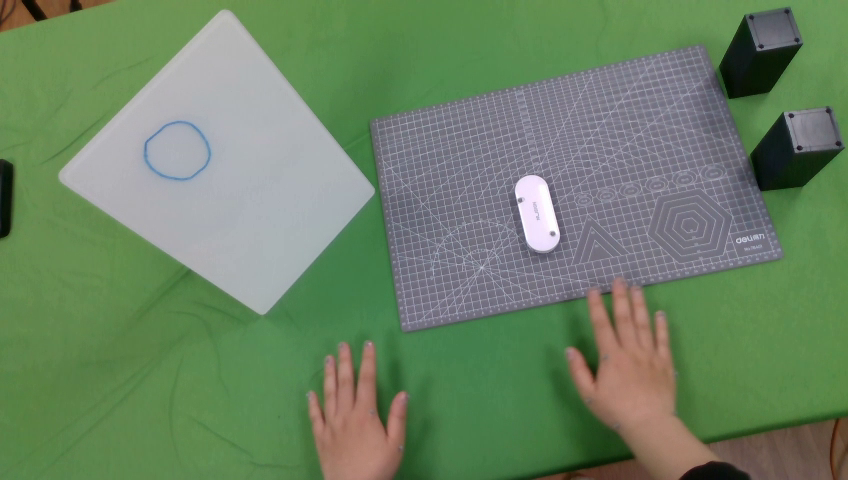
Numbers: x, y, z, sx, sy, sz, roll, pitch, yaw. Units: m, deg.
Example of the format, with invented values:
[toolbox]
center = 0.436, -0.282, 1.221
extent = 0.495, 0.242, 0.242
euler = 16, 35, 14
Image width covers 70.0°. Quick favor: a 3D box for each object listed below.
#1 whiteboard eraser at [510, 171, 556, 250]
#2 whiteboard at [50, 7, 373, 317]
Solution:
[whiteboard eraser]
center = 0.133, -0.037, 0.740
extent = 0.041, 0.019, 0.100
euler = -12, 72, 4
[whiteboard]
center = -0.239, -0.089, 0.697
extent = 0.142, 0.309, 0.217
euler = 35, 80, 38
